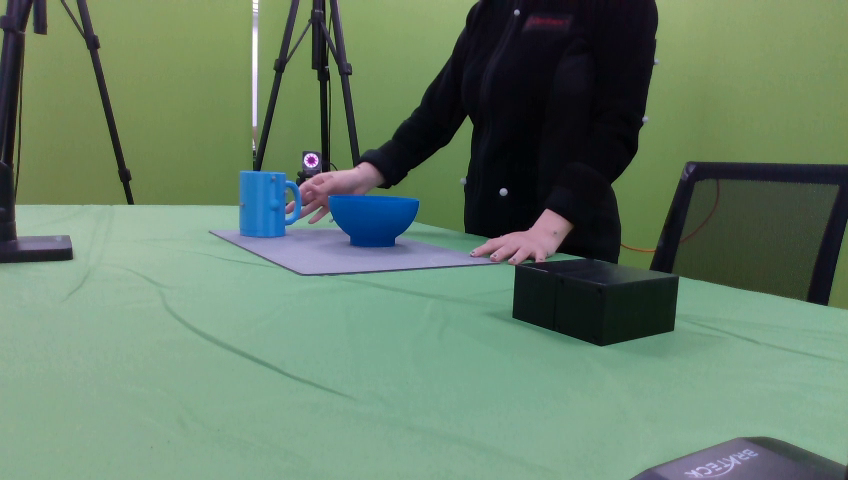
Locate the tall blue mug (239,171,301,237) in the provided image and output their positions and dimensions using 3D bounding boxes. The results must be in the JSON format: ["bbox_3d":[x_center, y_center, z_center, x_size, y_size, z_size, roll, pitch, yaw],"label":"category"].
[{"bbox_3d":[-0.273,-0.065,1.055,0.077,0.108,0.107,3,8,16],"label":"tall blue mug"}]

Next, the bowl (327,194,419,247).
[{"bbox_3d":[-0.083,-0.032,0.987,0.151,0.077,0.151,2,7,0],"label":"bowl"}]
